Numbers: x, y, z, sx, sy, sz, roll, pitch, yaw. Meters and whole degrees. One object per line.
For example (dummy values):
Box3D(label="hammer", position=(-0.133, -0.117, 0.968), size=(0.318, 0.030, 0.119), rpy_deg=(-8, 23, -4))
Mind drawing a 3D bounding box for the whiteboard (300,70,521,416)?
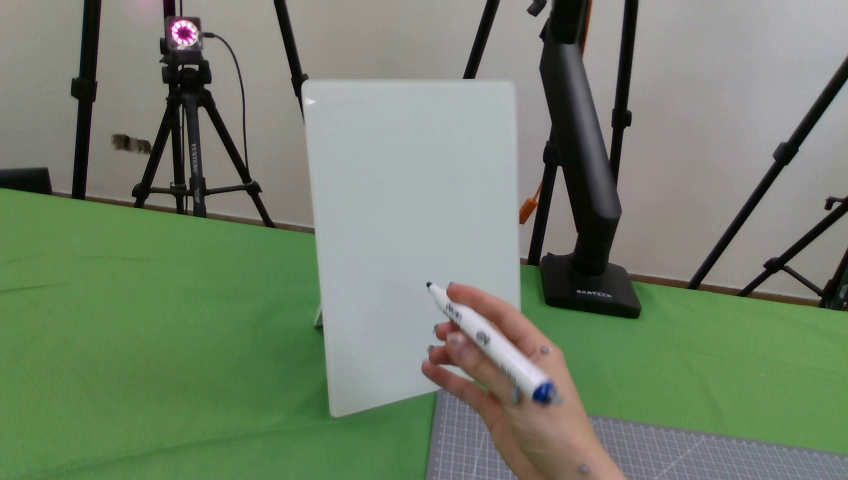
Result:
Box3D(label="whiteboard", position=(-0.029, -0.012, 0.630), size=(0.218, 0.306, 0.142), rpy_deg=(-9, 13, -26))

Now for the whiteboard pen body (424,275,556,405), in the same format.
Box3D(label="whiteboard pen body", position=(0.035, 0.057, 0.387), size=(0.017, 0.017, 0.139), rpy_deg=(-9, 31, -28))
